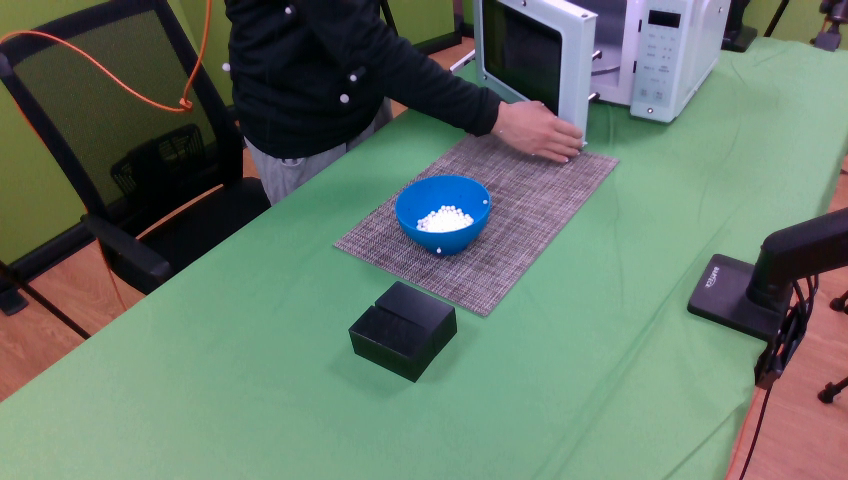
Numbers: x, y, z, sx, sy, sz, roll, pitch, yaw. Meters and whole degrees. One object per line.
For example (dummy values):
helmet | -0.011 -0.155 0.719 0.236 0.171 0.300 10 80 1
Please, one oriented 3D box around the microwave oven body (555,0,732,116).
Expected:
microwave oven body | 0.377 -0.462 1.267 0.438 0.261 0.327 21 49 30

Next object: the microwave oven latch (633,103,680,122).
microwave oven latch | 0.443 -0.249 1.157 0.078 0.029 0.030 21 49 30

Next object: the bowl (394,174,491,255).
bowl | 0.032 -0.030 0.949 0.151 0.077 0.150 -4 40 4

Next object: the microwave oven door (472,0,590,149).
microwave oven door | 0.195 -0.357 1.163 0.039 0.245 0.352 -22 43 -17
